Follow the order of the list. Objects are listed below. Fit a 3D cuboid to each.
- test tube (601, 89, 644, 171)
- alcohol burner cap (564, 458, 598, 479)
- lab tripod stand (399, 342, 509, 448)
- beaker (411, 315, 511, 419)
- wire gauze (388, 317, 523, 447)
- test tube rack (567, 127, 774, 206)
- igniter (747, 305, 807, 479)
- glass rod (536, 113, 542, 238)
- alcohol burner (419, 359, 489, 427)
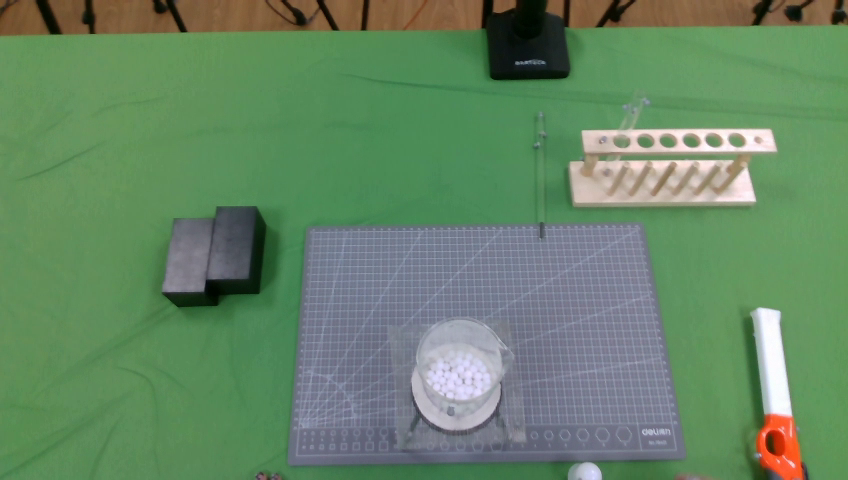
[{"bbox_3d":[0.248,-0.134,0.763,0.017,0.151,0.017,0,62,1],"label":"test tube"},{"bbox_3d":[0.175,0.255,0.663,0.034,0.048,0.033,0,64,1],"label":"alcohol burner cap"},{"bbox_3d":[0.029,0.166,0.649,0.148,0.132,0.147,-1,64,2],"label":"lab tripod stand"},{"bbox_3d":[0.032,0.118,0.545,0.084,0.101,0.073,-5,64,-2],"label":"beaker"},{"bbox_3d":[0.028,0.136,0.590,0.125,0.011,0.120,-4,63,0],"label":"wire gauze"},{"bbox_3d":[0.321,-0.096,0.800,0.242,0.086,0.066,-1,65,0],"label":"test tube rack"},{"bbox_3d":[0.402,0.208,0.693,0.057,0.025,0.274,10,66,-7],"label":"igniter"},{"bbox_3d":[0.160,-0.093,0.839,0.008,0.008,0.198,4,67,2],"label":"glass rod"},{"bbox_3d":[0.034,0.164,0.661,0.078,0.120,0.077,1,63,-1],"label":"alcohol burner"}]
